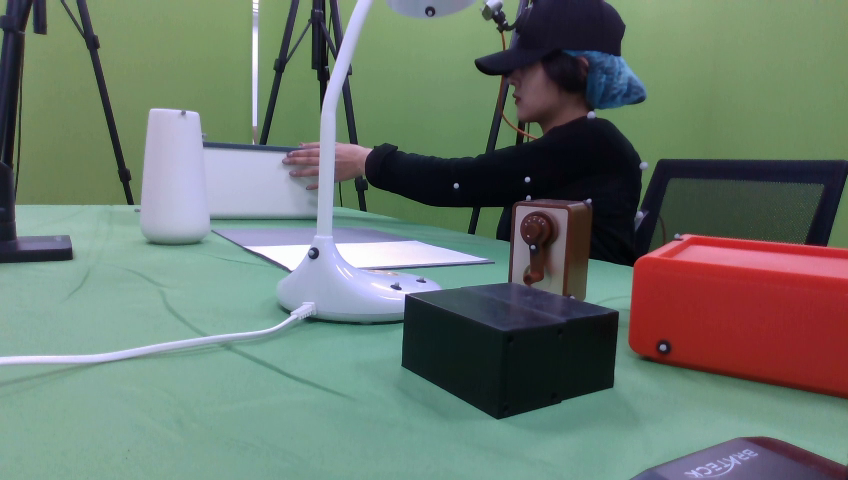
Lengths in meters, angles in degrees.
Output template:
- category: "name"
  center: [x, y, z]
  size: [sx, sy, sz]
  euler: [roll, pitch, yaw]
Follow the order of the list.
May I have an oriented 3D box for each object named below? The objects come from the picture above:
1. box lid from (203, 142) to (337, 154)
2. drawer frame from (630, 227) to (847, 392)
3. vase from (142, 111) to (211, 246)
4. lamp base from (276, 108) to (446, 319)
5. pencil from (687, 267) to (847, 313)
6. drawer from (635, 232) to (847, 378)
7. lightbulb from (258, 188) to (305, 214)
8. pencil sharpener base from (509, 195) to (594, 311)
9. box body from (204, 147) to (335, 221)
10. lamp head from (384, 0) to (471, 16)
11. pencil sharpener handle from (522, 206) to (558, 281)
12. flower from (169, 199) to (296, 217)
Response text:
- category: "box lid"
  center: [-0.405, -0.209, 1.377]
  size: [0.373, 0.015, 0.262]
  euler: [-1, 9, -29]
- category: "drawer frame"
  center: [0.292, 0.043, 0.484]
  size: [0.201, 0.082, 0.214]
  euler: [7, 9, 29]
- category: "vase"
  center: [-0.378, -0.093, 0.920]
  size: [0.098, 0.200, 0.098]
  euler: [2, 9, 0]
- category: "lamp base"
  center: [-0.061, -0.027, 0.556]
  size: [0.160, 0.180, 0.180]
  euler: [4, 10, 20]
- category: "pencil"
  center: [0.308, 0.044, 0.515]
  size: [0.194, 0.012, 0.012]
  euler: [13, 5, -12]
- category: "drawer"
  center: [0.292, 0.045, 0.488]
  size: [0.193, 0.073, 0.213]
  euler: [7, 9, 30]
- category: "lightbulb"
  center: [-0.325, -0.082, 1.382]
  size: [0.108, 0.059, 0.059]
  euler: [-15, 9, -6]
- category: "pencil sharpener base"
  center: [0.126, 0.011, 0.601]
  size: [0.061, 0.107, 0.077]
  euler: [7, 9, 30]
- category: "box body"
  center: [-0.411, -0.135, 1.386]
  size: [0.366, 0.160, 0.253]
  euler: [-2, 9, -29]
- category: "lamp head"
  center: [-0.001, -0.301, 0.599]
  size: [0.112, 0.112, 0.123]
  euler: [4, -30, 14]
- category: "pencil sharpener handle"
  center: [0.102, 0.003, 0.555]
  size: [0.036, 0.067, 0.031]
  euler: [0, 5, 31]
- category: "flower"
  center: [-0.423, -0.069, 1.398]
  size: [0.044, 0.038, 0.363]
  euler: [2, 2, 31]
